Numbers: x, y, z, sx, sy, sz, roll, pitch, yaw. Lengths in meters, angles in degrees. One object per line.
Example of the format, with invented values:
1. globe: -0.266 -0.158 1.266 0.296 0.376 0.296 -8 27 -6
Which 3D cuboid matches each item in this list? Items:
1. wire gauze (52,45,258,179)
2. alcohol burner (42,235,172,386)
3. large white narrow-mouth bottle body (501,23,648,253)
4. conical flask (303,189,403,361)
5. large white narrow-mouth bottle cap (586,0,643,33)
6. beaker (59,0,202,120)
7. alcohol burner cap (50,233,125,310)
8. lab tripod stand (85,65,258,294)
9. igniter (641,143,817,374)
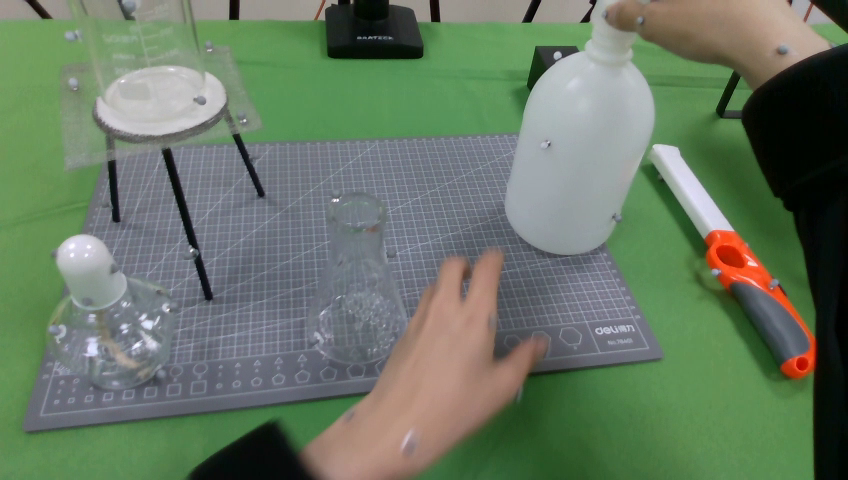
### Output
1. wire gauze: -0.189 -0.099 0.422 0.122 0.011 0.123 -16 53 -18
2. alcohol burner: -0.206 0.041 0.389 0.078 0.120 0.077 5 44 -4
3. large white narrow-mouth bottle body: 0.125 -0.087 0.495 0.102 0.196 0.101 3 45 -2
4. conical flask: -0.049 0.022 0.419 0.075 0.123 0.074 3 45 -3
5. large white narrow-mouth bottle cap: 0.132 -0.162 0.418 0.038 0.024 0.037 3 45 -3
6. beaker: -0.189 -0.135 0.388 0.084 0.101 0.073 -9 49 -15
7. alcohol burner cap: -0.203 0.017 0.362 0.034 0.048 0.033 4 51 -4
8. lab tripod stand: -0.190 -0.052 0.467 0.148 0.132 0.147 5 46 -4
9. igniter: 0.265 0.002 0.546 0.057 0.025 0.273 4 44 -17
